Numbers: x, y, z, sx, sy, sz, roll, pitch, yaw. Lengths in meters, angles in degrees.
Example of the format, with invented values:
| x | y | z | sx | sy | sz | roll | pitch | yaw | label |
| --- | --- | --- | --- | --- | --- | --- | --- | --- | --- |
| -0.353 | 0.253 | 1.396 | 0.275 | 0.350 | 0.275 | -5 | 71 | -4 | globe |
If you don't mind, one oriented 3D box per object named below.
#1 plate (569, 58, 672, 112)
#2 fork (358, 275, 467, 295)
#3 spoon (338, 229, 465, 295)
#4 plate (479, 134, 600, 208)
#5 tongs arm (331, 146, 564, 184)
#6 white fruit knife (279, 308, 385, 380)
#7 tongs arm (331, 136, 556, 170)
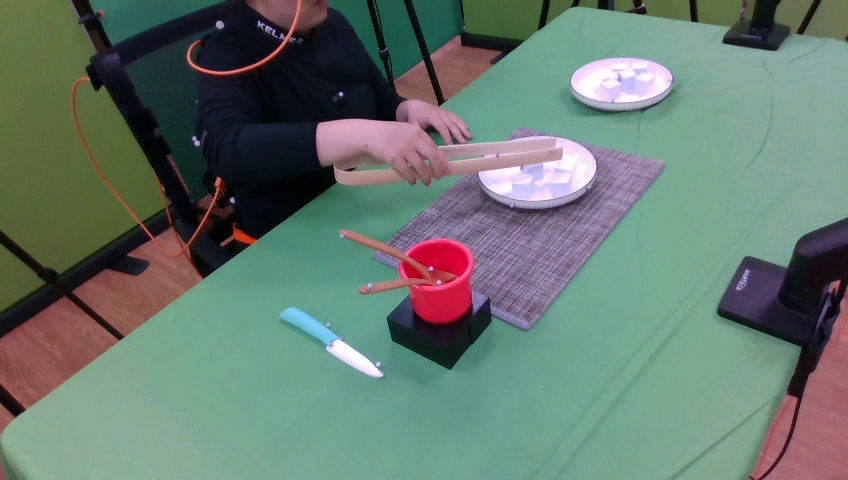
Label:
| x | y | z | sx | sy | sz | roll | pitch | yaw | label |
| --- | --- | --- | --- | --- | --- | --- | --- | --- | --- |
| 0.411 | -0.323 | 1.274 | 0.209 | 0.038 | 0.208 | -5 | 41 | 5 | plate |
| -0.009 | 0.056 | 0.739 | 0.028 | 0.018 | 0.209 | 48 | 23 | 26 | fork |
| -0.025 | 0.026 | 0.776 | 0.021 | 0.195 | 0.041 | -41 | 34 | 32 | spoon |
| 0.202 | -0.117 | 1.065 | 0.207 | 0.039 | 0.206 | -5 | 40 | 5 | plate |
| 0.042 | -0.130 | 0.999 | 0.386 | 0.026 | 0.050 | -9 | 39 | -11 | tongs arm |
| -0.130 | 0.143 | 0.845 | 0.205 | 0.016 | 0.027 | 25 | 79 | 32 | white fruit knife |
| 0.038 | -0.145 | 1.019 | 0.389 | 0.028 | 0.028 | -7 | 42 | -8 | tongs arm |
